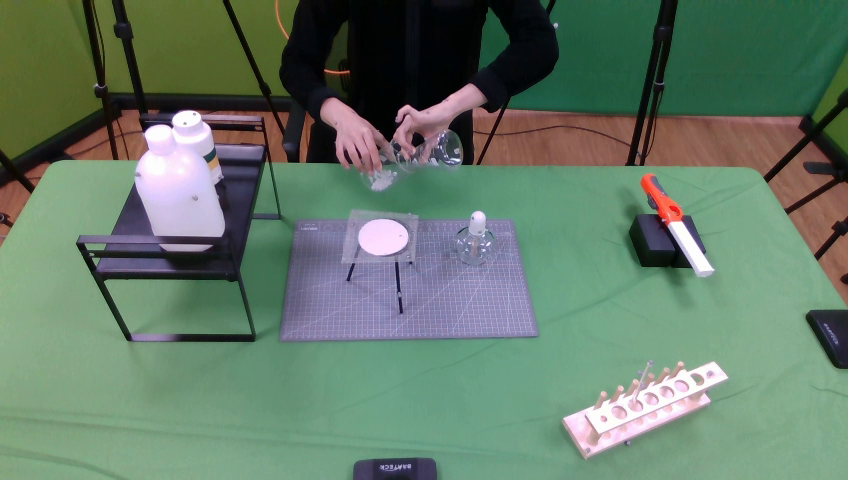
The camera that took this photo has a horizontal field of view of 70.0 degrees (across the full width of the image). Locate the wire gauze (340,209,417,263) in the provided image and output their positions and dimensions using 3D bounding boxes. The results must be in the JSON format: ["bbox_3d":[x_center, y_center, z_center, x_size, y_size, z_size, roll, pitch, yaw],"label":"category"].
[{"bbox_3d":[-0.074,-0.007,1.023,0.121,0.011,0.124,3,46,0],"label":"wire gauze"}]

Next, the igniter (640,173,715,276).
[{"bbox_3d":[0.495,-0.039,1.204,0.057,0.025,0.274,-2,47,-13],"label":"igniter"}]

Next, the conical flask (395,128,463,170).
[{"bbox_3d":[0.004,-0.156,1.102,0.121,0.075,0.075,-7,35,38],"label":"conical flask"}]

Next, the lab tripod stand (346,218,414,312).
[{"bbox_3d":[-0.070,0.037,1.075,0.148,0.132,0.147,1,47,-1],"label":"lab tripod stand"}]

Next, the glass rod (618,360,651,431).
[{"bbox_3d":[0.298,0.227,0.865,0.008,0.201,0.008,-2,48,2],"label":"glass rod"}]

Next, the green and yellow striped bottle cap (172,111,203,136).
[{"bbox_3d":[-0.374,-0.185,0.958,0.045,0.020,0.045,4,46,-4],"label":"green and yellow striped bottle cap"}]

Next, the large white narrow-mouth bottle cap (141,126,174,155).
[{"bbox_3d":[-0.356,-0.134,0.811,0.038,0.024,0.037,1,48,-1],"label":"large white narrow-mouth bottle cap"}]

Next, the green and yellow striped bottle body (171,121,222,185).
[{"bbox_3d":[-0.375,-0.149,0.995,0.063,0.120,0.063,2,46,-2],"label":"green and yellow striped bottle body"}]

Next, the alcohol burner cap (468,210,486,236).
[{"bbox_3d":[0.099,-0.034,1.119,0.034,0.048,0.033,0,53,0],"label":"alcohol burner cap"}]

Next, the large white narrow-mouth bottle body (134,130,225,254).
[{"bbox_3d":[-0.358,-0.075,0.875,0.102,0.195,0.101,1,48,-1],"label":"large white narrow-mouth bottle body"}]

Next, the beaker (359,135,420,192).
[{"bbox_3d":[-0.067,-0.141,1.147,0.084,0.100,0.073,15,58,-42],"label":"beaker"}]

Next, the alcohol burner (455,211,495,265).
[{"bbox_3d":[0.097,-0.010,1.147,0.078,0.120,0.077,0,47,0],"label":"alcohol burner"}]

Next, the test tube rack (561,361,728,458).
[{"bbox_3d":[0.341,0.248,0.940,0.243,0.085,0.066,-15,48,-18],"label":"test tube rack"}]
